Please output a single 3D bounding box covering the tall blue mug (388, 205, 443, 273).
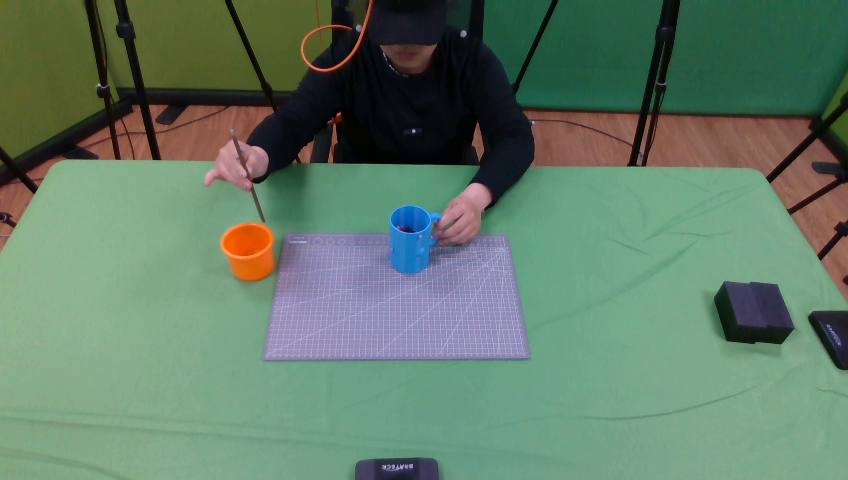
[{"bbox_3d":[-0.020,-0.010,1.143,0.077,0.108,0.107,23,49,18],"label":"tall blue mug"}]

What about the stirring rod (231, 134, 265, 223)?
[{"bbox_3d":[-0.298,-0.101,1.031,0.006,0.177,0.014,-31,44,-27],"label":"stirring rod"}]
